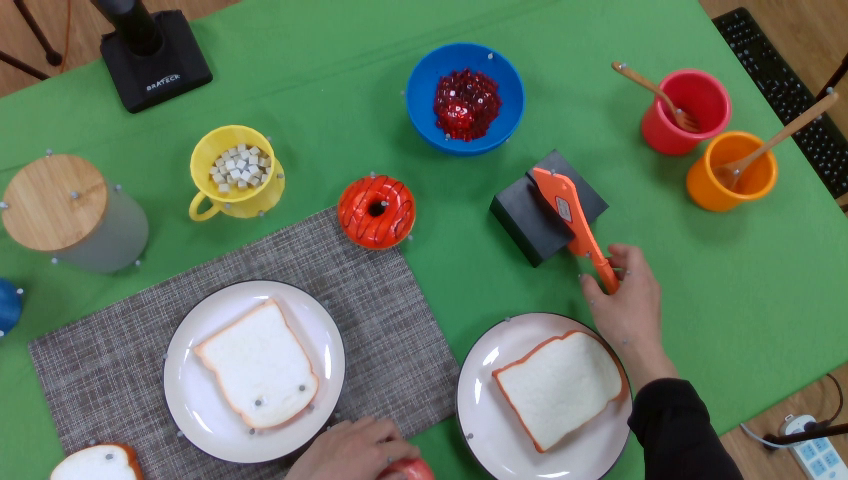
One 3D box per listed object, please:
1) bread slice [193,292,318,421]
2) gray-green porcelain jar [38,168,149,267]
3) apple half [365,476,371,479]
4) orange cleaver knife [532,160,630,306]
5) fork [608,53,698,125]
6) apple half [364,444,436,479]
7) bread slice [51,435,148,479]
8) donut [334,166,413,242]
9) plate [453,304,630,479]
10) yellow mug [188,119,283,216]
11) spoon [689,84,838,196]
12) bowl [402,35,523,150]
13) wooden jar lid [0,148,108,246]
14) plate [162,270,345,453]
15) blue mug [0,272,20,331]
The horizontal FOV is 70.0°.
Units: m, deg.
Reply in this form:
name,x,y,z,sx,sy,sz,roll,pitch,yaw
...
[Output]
name,x,y,z,sx,sy,sz,roll,pitch,yaw
bread slice,-0.188,0.142,0.711,0.107,0.018,0.133,-37,80,-10
gray-green porcelain jar,-0.390,-0.028,0.702,0.106,0.127,0.105,1,75,-2
apple half,-0.036,0.290,0.664,0.081,0.081,0.032,27,72,5
orange cleaver knife,0.192,-0.008,0.745,0.012,0.076,0.213,-37,109,-14
fork,0.292,-0.188,0.762,0.209,0.018,0.028,18,69,-41
apple half,-0.021,0.257,0.676,0.080,0.075,0.053,25,70,8
bread slice,-0.363,0.289,0.676,0.105,0.019,0.131,-18,79,-8
donut,-0.063,-0.045,0.759,0.099,0.048,0.098,1,77,-2
plate,0.137,0.181,0.719,0.209,0.038,0.208,1,76,-2
yellow mug,-0.243,-0.080,0.753,0.099,0.064,0.130,39,78,7
spoon,0.417,-0.121,0.750,0.194,0.022,0.041,-42,76,34
bowl,0.047,-0.177,0.784,0.151,0.077,0.150,1,76,-2
wooden jar lid,-0.388,-0.044,0.642,0.108,0.021,0.108,0,74,-1
plate,-0.195,0.140,0.710,0.208,0.039,0.206,1,76,-2
blue mug,-0.539,0.076,0.679,0.082,0.106,0.116,37,77,7
